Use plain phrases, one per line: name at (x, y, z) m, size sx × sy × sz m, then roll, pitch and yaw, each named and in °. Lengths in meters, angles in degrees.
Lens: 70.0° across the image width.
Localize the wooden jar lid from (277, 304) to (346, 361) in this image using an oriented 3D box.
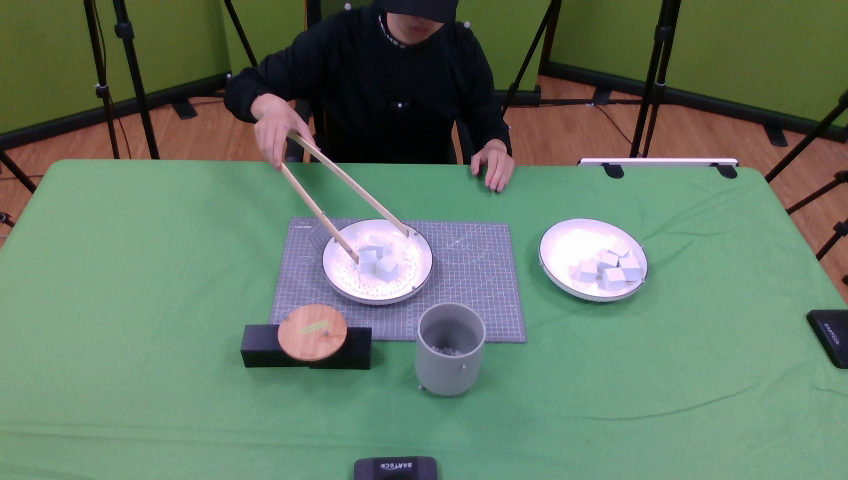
wooden jar lid at (-0.179, 0.150, 0.972) m, size 0.108 × 0.021 × 0.107 m, roll 2°, pitch 45°, yaw -2°

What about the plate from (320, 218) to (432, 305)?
plate at (-0.089, 0.044, 1.134) m, size 0.209 × 0.038 × 0.208 m, roll 3°, pitch 46°, yaw -3°

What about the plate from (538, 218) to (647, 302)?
plate at (0.322, 0.042, 1.171) m, size 0.208 × 0.039 × 0.206 m, roll 2°, pitch 46°, yaw -2°

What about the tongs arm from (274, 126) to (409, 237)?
tongs arm at (-0.163, -0.121, 1.159) m, size 0.028 × 0.028 × 0.385 m, roll -38°, pitch 61°, yaw -23°

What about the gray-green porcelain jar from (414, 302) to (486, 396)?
gray-green porcelain jar at (0.038, 0.177, 0.958) m, size 0.106 × 0.127 × 0.105 m, roll 2°, pitch 46°, yaw -2°

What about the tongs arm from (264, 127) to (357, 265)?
tongs arm at (-0.211, -0.093, 1.133) m, size 0.051 × 0.026 × 0.382 m, roll -30°, pitch 57°, yaw -23°
